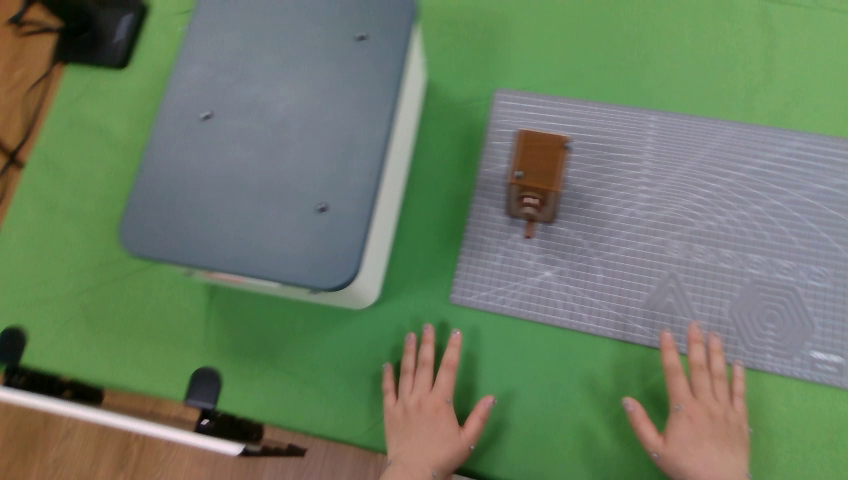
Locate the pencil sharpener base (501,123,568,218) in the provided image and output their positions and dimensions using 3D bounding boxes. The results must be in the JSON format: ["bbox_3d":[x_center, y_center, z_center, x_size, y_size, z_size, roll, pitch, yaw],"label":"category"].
[{"bbox_3d":[0.126,-0.075,0.704,0.061,0.108,0.076,11,75,10],"label":"pencil sharpener base"}]

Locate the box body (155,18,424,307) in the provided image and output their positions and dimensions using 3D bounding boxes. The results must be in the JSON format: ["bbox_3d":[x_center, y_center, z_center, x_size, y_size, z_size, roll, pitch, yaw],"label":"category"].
[{"bbox_3d":[-0.155,-0.117,0.722,0.253,0.161,0.362,9,74,9],"label":"box body"}]

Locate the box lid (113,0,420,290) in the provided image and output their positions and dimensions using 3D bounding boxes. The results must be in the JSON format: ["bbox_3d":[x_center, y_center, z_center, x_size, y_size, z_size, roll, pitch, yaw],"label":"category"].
[{"bbox_3d":[-0.162,-0.142,0.653,0.263,0.015,0.369,9,74,9],"label":"box lid"}]

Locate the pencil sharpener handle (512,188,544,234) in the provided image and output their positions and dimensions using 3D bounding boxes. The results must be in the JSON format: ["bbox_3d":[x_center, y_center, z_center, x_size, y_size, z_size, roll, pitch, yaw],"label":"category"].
[{"bbox_3d":[0.115,-0.031,0.679,0.036,0.068,0.030,9,74,18],"label":"pencil sharpener handle"}]
